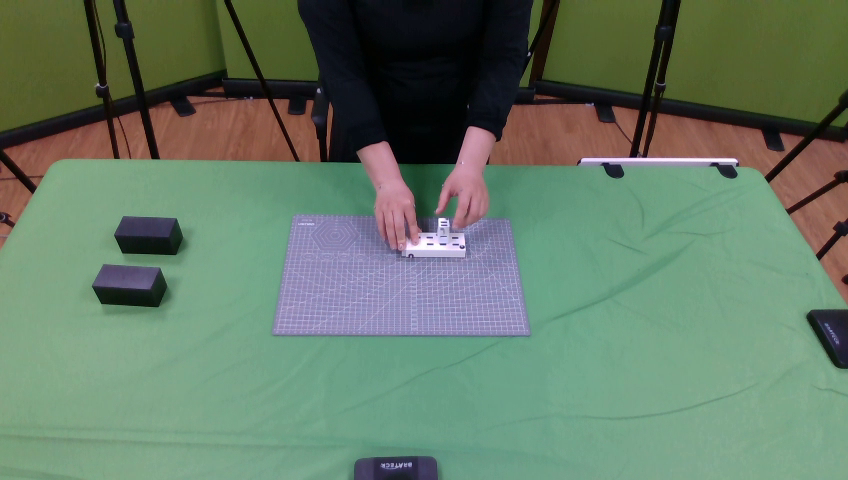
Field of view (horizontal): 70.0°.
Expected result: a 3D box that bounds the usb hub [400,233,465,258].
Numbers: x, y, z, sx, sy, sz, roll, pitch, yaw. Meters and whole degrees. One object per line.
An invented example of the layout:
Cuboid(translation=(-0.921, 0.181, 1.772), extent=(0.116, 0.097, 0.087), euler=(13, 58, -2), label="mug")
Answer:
Cuboid(translation=(0.017, 0.011, 1.183), extent=(0.125, 0.025, 0.049), euler=(0, 46, -3), label="usb hub")

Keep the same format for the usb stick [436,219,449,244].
Cuboid(translation=(0.035, -0.012, 1.166), extent=(0.021, 0.059, 0.027), euler=(-3, 49, -6), label="usb stick")
